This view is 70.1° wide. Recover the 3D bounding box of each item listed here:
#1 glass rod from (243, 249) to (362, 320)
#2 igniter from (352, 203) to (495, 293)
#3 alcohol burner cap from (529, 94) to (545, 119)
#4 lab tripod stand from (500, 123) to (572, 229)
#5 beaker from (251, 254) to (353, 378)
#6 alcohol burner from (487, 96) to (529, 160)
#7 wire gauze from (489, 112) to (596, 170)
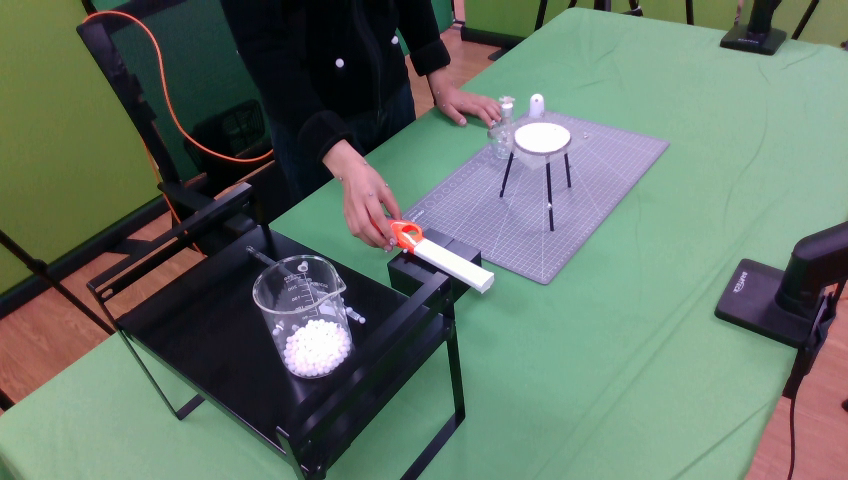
[{"bbox_3d":[-0.141,0.046,0.674,0.198,0.008,0.008,24,49,32],"label":"glass rod"},{"bbox_3d":[-0.012,0.005,0.894,0.274,0.025,0.057,28,52,34],"label":"igniter"},{"bbox_3d":[0.233,-0.277,1.247,0.034,0.048,0.033,-5,41,5],"label":"alcohol burner cap"},{"bbox_3d":[0.194,-0.110,0.985,0.148,0.132,0.147,-3,41,3],"label":"lab tripod stand"},{"bbox_3d":[-0.106,0.074,0.565,0.084,0.101,0.073,-1,41,8],"label":"beaker"},{"bbox_3d":[0.155,-0.211,1.126,0.078,0.119,0.077,-6,40,5],"label":"alcohol burner"},{"bbox_3d":[0.183,-0.161,0.942,0.122,0.011,0.124,-24,44,-18],"label":"wire gauze"}]
